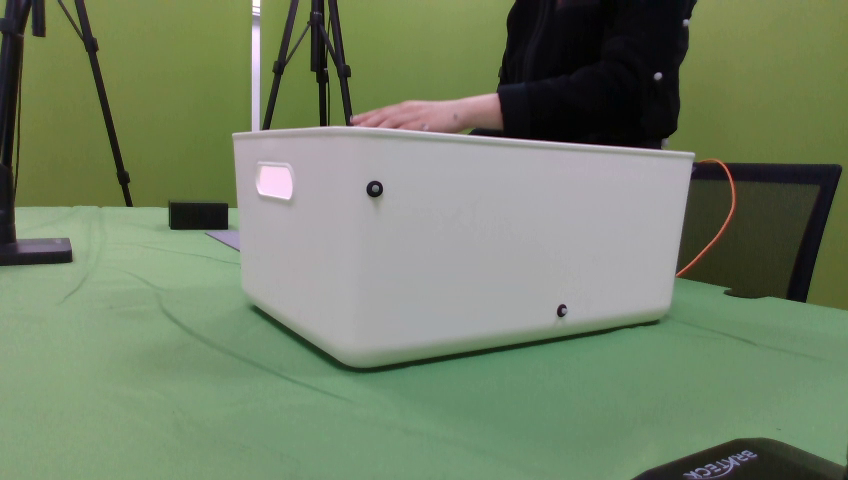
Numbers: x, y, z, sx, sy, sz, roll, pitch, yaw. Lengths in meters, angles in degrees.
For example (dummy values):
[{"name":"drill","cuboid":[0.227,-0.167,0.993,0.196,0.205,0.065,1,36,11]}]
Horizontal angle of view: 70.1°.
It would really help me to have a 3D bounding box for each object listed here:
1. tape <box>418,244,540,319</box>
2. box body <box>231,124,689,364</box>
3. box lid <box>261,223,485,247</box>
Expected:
[{"name":"tape","cuboid":[0.051,0.036,0.570,0.117,0.052,0.117,3,7,0]},{"name":"box body","cuboid":[0.031,-0.013,0.563,0.366,0.160,0.253,-3,8,-33]},{"name":"box lid","cuboid":[-0.100,-0.009,1.085,0.373,0.015,0.262,0,7,-15]}]
